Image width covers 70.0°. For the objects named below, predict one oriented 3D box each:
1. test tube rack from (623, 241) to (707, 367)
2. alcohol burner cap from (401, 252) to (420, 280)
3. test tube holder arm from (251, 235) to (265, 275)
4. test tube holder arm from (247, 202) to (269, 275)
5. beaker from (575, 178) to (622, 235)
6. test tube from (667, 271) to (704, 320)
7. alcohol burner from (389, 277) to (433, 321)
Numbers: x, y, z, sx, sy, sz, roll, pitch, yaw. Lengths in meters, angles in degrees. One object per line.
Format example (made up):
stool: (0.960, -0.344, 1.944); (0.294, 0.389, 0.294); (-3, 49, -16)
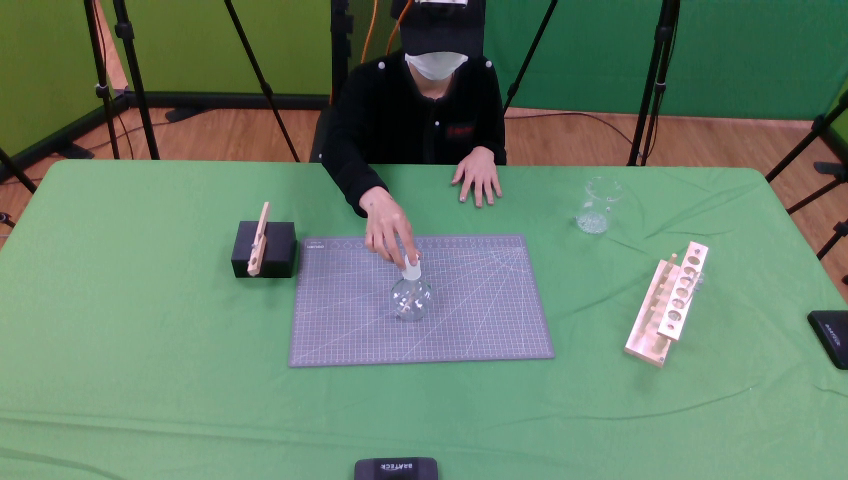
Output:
test tube rack: (0.435, 0.104, 1.089); (0.066, 0.085, 0.242); (24, 49, 19)
alcohol burner cap: (-0.022, 0.039, 1.000); (0.034, 0.048, 0.033); (2, 45, -2)
test tube holder arm: (-0.297, 0.025, 1.085); (0.010, 0.015, 0.087); (-5, 46, 2)
test tube holder arm: (-0.304, -0.006, 1.116); (0.013, 0.015, 0.177); (-5, 46, 1)
beaker: (0.356, -0.068, 1.240); (0.084, 0.101, 0.073); (-18, 50, -21)
test tube: (0.432, 0.104, 1.019); (0.017, 0.151, 0.017); (3, 48, -3)
alcohol burner: (-0.022, 0.085, 1.046); (0.078, 0.119, 0.077); (2, 48, -3)
